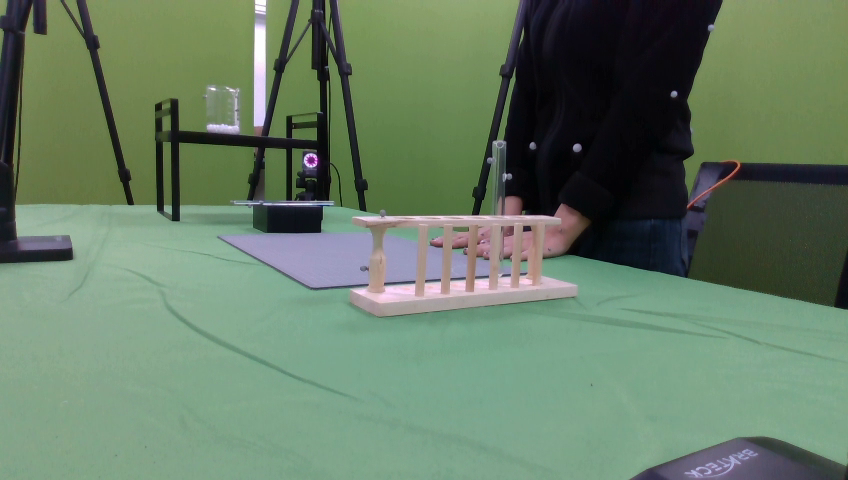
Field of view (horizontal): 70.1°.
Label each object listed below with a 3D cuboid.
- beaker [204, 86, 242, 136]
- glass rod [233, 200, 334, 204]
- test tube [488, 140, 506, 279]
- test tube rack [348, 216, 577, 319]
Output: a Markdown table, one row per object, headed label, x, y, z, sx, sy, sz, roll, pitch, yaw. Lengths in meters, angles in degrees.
| label | x | y | z | sx | sy | sz | roll | pitch | yaw |
| --- | --- | --- | --- | --- | --- | --- | --- | --- | --- |
| beaker | -0.429 | -0.276 | 1.300 | 0.083 | 0.100 | 0.074 | 9 | 10 | 37 |
| glass rod | -0.262 | -0.071 | 1.146 | 0.201 | 0.008 | 0.008 | -2 | 9 | -34 |
| test tube | 0.079 | -0.032 | 0.654 | 0.017 | 0.150 | 0.017 | 1 | 2 | 0 |
| test tube rack | 0.048 | 0.021 | 0.619 | 0.244 | 0.085 | 0.066 | -2 | 9 | -31 |
